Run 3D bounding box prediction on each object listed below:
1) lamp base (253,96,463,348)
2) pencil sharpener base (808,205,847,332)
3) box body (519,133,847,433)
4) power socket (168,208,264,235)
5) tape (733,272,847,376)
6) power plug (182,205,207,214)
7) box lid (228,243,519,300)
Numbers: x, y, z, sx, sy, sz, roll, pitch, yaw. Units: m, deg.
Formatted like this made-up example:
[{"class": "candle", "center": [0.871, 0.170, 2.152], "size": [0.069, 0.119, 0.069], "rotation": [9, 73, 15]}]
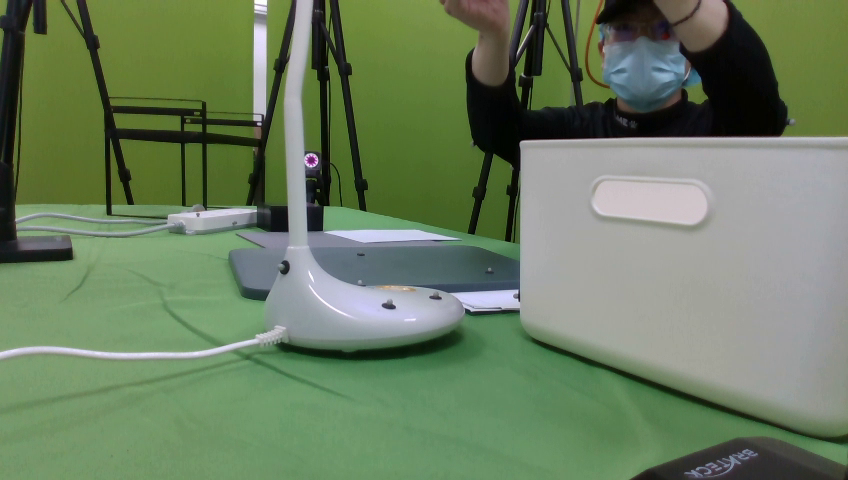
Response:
[{"class": "lamp base", "center": [-0.058, -0.018, 0.467], "size": [0.160, 0.180, 0.180], "rotation": [2, 9, 34]}, {"class": "pencil sharpener base", "center": [0.386, 0.026, 0.518], "size": [0.062, 0.107, 0.076], "rotation": [-5, 11, -43]}, {"class": "box body", "center": [0.279, 0.005, 0.485], "size": [0.366, 0.160, 0.253], "rotation": [-3, 9, -36]}, {"class": "power socket", "center": [-0.381, -0.038, 1.129], "size": [0.072, 0.032, 0.227], "rotation": [4, 8, 17]}, {"class": "tape", "center": [0.295, 0.059, 0.455], "size": [0.117, 0.052, 0.117], "rotation": [2, 7, 0]}, {"class": "power plug", "center": [-0.456, -0.041, 1.195], "size": [0.052, 0.035, 0.072], "rotation": [0, 40, 24]}, {"class": "box lid", "center": [-0.044, 0.033, 0.756], "size": [0.373, 0.015, 0.262], "rotation": [-1, 9, -22]}]
